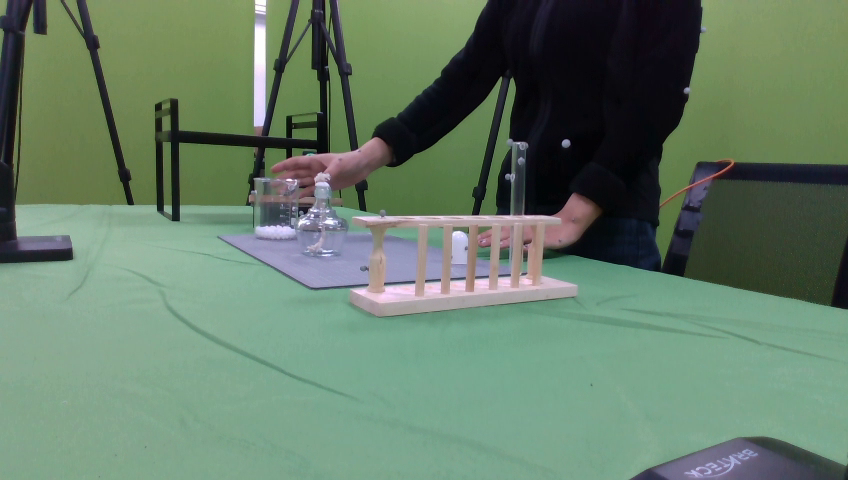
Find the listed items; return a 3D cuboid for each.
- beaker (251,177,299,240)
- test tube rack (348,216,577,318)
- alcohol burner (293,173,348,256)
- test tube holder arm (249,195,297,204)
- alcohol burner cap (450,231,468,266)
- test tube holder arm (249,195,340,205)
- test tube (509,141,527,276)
[{"bbox_3d":[-0.245,-0.052,1.004,0.083,0.100,0.074,9,10,36],"label":"beaker"},{"bbox_3d":[0.048,0.021,0.619,0.244,0.085,0.066,-2,8,-31],"label":"test tube rack"},{"bbox_3d":[-0.147,-0.036,0.859,0.078,0.119,0.078,4,9,0],"label":"alcohol burner"},{"bbox_3d":[-0.284,-0.076,1.141,0.088,0.015,0.010,0,9,-29],"label":"test tube holder arm"},{"bbox_3d":[0.046,0.012,0.839,0.034,0.048,0.034,2,5,0],"label":"alcohol burner cap"},{"bbox_3d":[-0.247,-0.077,1.169,0.179,0.015,0.013,0,9,-31],"label":"test tube holder arm"},{"bbox_3d":[0.102,-0.032,0.662,0.017,0.150,0.017,0,10,0],"label":"test tube"}]
